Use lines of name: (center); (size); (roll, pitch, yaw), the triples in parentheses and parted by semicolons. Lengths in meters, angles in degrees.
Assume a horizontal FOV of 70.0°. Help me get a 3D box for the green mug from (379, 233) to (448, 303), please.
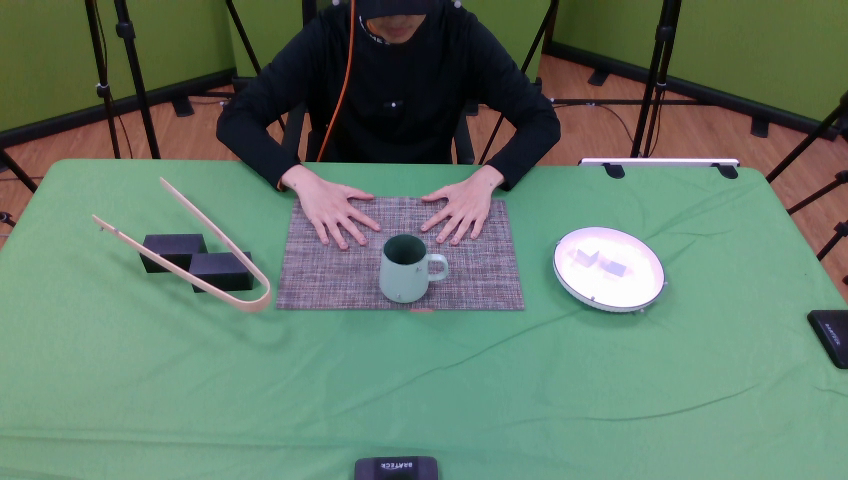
green mug: (-0.019, 0.050, 1.084); (0.125, 0.105, 0.092); (-1, 46, -4)

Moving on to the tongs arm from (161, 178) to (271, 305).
tongs arm: (-0.386, -0.009, 1.108); (0.028, 0.028, 0.385); (-29, 54, -36)

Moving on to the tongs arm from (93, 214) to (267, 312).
tongs arm: (-0.434, 0.031, 1.063); (0.383, 0.026, 0.050); (28, 47, 21)

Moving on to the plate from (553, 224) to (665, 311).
plate: (0.349, 0.055, 1.159); (0.209, 0.038, 0.208); (2, 47, -2)
